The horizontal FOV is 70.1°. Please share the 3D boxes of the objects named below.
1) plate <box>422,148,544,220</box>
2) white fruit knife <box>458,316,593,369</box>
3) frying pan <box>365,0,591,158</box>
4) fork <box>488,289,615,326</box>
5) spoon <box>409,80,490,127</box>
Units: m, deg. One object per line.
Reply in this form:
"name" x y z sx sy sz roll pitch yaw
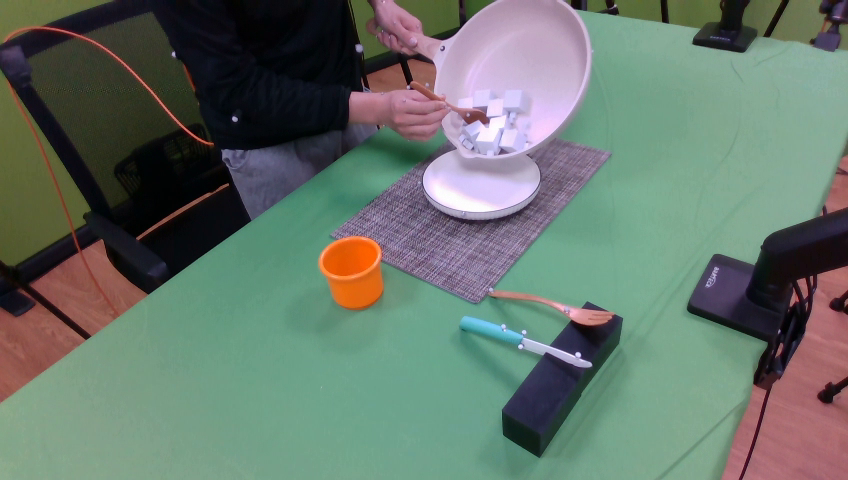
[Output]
"plate" 0.102 -0.097 1.049 0.207 0.039 0.206 -4 40 4
"white fruit knife" 0.120 0.127 0.757 0.205 0.027 0.016 12 45 43
"frying pan" 0.076 -0.323 1.091 0.484 0.103 0.306 32 97 26
"fork" 0.161 0.085 0.800 0.205 0.019 0.028 11 48 48
"spoon" 0.046 -0.230 1.026 0.041 0.195 0.021 -21 68 37
